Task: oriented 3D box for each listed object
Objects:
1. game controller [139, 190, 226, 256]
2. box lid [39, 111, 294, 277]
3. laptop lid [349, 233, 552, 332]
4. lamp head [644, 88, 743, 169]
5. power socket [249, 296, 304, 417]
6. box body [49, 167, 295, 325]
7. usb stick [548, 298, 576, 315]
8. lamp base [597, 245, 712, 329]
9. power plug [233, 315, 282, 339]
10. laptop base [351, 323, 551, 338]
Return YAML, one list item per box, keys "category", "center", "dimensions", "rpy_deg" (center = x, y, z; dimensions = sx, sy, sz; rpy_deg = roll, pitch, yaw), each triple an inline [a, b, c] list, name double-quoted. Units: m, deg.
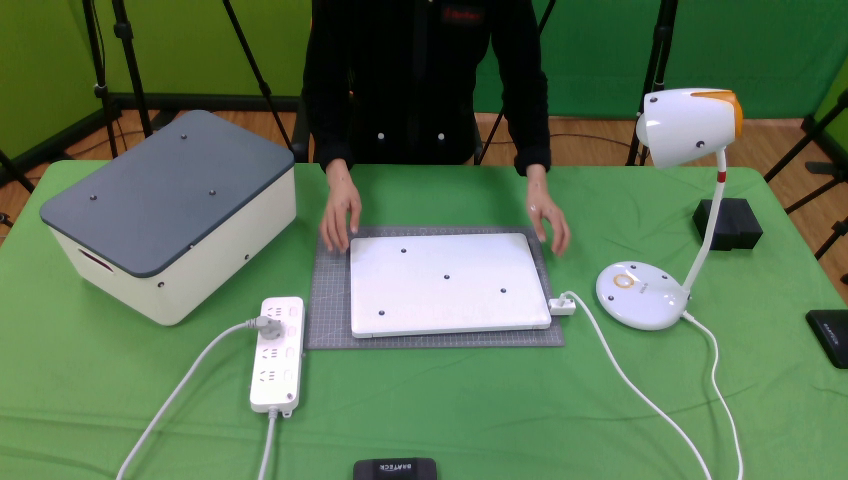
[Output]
- category: "game controller"
  center: [-0.436, -0.038, 1.080]
  dimensions: [0.097, 0.052, 0.154]
  rpy_deg: [-38, 60, -25]
- category: "box lid"
  center: [-0.435, -0.097, 1.055]
  dimensions: [0.262, 0.015, 0.370]
  rpy_deg: [25, 49, 18]
- category: "laptop lid"
  center: [0.040, 0.071, 1.119]
  dimensions: [0.357, 0.013, 0.240]
  rpy_deg: [-1, 44, -5]
- category: "lamp head"
  center: [0.380, -0.161, 0.851]
  dimensions: [0.122, 0.113, 0.112]
  rpy_deg: [-4, 42, 25]
- category: "power socket"
  center: [-0.239, 0.182, 0.996]
  dimensions: [0.072, 0.033, 0.225]
  rpy_deg: [-2, 47, -5]
- category: "box body"
  center: [-0.437, -0.046, 1.110]
  dimensions: [0.253, 0.161, 0.363]
  rpy_deg: [24, 49, 19]
- category: "usb stick"
  center: [0.240, 0.119, 1.086]
  dimensions: [0.059, 0.027, 0.021]
  rpy_deg: [-2, 51, -2]
- category: "lamp base"
  center: [0.418, 0.051, 1.072]
  dimensions: [0.179, 0.181, 0.160]
  rpy_deg: [22, 49, 13]
- category: "power plug"
  center: [-0.271, 0.143, 0.999]
  dimensions: [0.072, 0.053, 0.035]
  rpy_deg: [6, 47, 3]
- category: "laptop base"
  center: [0.040, 0.081, 1.125]
  dimensions: [0.355, 0.023, 0.234]
  rpy_deg: [-2, 43, -6]
